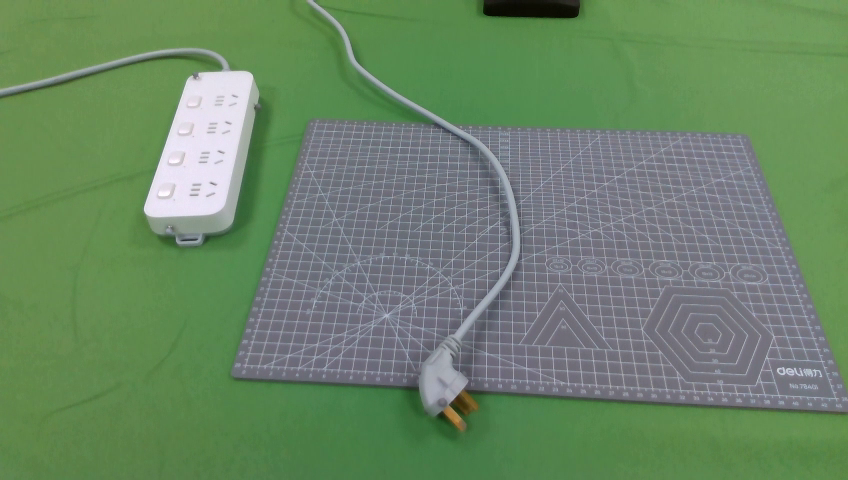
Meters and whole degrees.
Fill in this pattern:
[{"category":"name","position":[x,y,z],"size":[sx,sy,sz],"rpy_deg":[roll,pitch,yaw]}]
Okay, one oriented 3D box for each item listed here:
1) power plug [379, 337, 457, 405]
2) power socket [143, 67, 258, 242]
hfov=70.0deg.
[{"category":"power plug","position":[-0.004,0.083,0.422],"size":[0.035,0.073,0.052],"rpy_deg":[-33,16,-11]},{"category":"power socket","position":[-0.211,-0.095,0.588],"size":[0.072,0.033,0.224],"rpy_deg":[-2,51,-2]}]
